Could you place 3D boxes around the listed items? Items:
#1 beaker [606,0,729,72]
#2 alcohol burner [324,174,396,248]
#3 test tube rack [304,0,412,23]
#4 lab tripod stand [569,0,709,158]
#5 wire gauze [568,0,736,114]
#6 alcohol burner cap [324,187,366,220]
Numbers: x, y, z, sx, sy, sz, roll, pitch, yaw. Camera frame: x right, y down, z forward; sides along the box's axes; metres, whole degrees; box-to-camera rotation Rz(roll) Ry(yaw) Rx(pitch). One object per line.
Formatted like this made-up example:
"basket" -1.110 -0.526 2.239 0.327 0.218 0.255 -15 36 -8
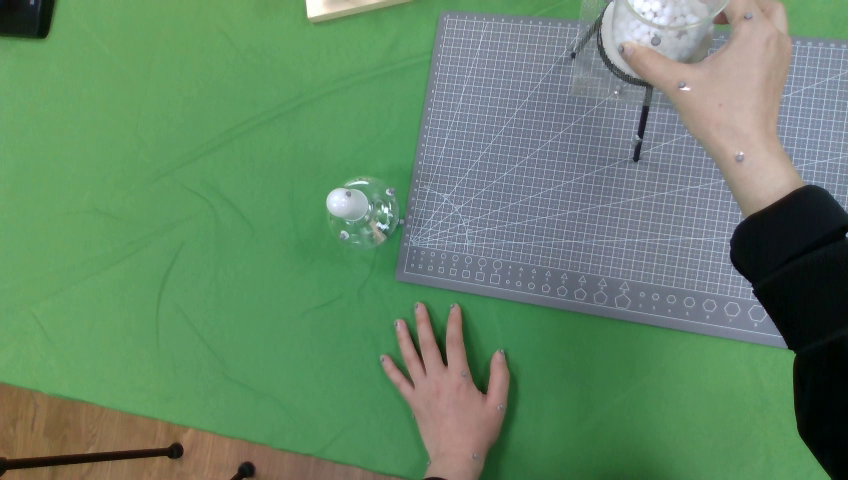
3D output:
"beaker" 0.169 -0.170 0.438 0.083 0.100 0.074 23 92 12
"alcohol burner" -0.070 -0.032 0.612 0.078 0.119 0.077 -1 83 11
"test tube rack" -0.027 -0.304 0.639 0.242 0.085 0.066 -8 83 11
"lab tripod stand" 0.199 -0.161 0.552 0.148 0.132 0.148 -1 86 11
"wire gauze" 0.185 -0.167 0.486 0.125 0.011 0.121 8 89 13
"alcohol burner cap" -0.078 -0.036 0.577 0.034 0.048 0.034 0 89 12
